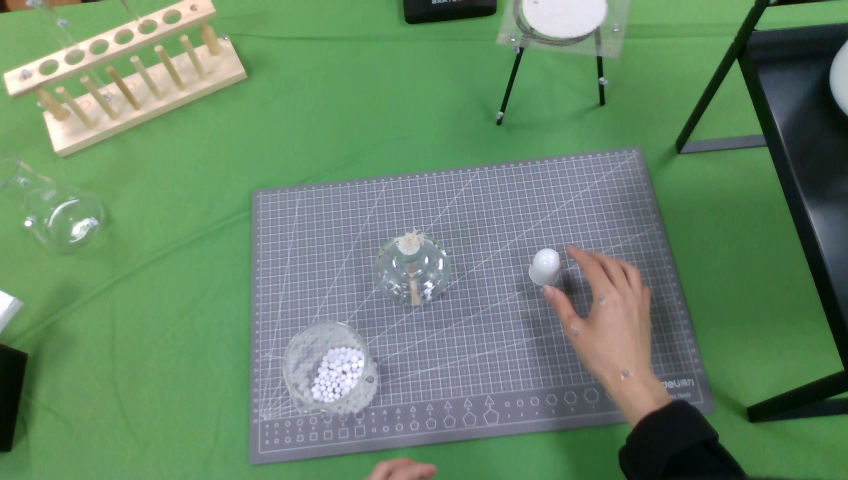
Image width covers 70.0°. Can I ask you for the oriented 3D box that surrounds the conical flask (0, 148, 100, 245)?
[{"bbox_3d":[-0.408,-0.050,0.637,0.075,0.123,0.075,-1,67,3],"label":"conical flask"}]

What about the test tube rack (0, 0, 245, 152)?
[{"bbox_3d":[-0.349,-0.200,0.716,0.242,0.086,0.066,-26,68,-8],"label":"test tube rack"}]

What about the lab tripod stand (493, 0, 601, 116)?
[{"bbox_3d":[0.139,-0.216,0.676,0.148,0.132,0.147,0,66,1],"label":"lab tripod stand"}]

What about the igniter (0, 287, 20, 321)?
[{"bbox_3d":[-0.476,0.163,0.553,0.057,0.025,0.275,21,69,21],"label":"igniter"}]

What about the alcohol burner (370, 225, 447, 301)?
[{"bbox_3d":[-0.016,0.017,0.595,0.078,0.120,0.077,0,66,1],"label":"alcohol burner"}]

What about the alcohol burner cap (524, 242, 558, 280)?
[{"bbox_3d":[0.123,0.019,0.626,0.034,0.048,0.033,-1,67,2],"label":"alcohol burner cap"}]

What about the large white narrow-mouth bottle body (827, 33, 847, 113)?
[{"bbox_3d":[0.378,-0.165,0.417,0.102,0.196,0.101,-1,67,4],"label":"large white narrow-mouth bottle body"}]

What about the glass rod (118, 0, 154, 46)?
[{"bbox_3d":[-0.332,-0.261,0.669,0.008,0.201,0.008,-4,61,8],"label":"glass rod"}]

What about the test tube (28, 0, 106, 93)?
[{"bbox_3d":[-0.395,-0.218,0.672,0.017,0.151,0.017,-1,61,2],"label":"test tube"}]

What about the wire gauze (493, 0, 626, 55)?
[{"bbox_3d":[0.143,-0.245,0.615,0.121,0.011,0.124,14,70,6],"label":"wire gauze"}]

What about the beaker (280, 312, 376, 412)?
[{"bbox_3d":[-0.086,0.121,0.563,0.074,0.101,0.083,22,70,12],"label":"beaker"}]
